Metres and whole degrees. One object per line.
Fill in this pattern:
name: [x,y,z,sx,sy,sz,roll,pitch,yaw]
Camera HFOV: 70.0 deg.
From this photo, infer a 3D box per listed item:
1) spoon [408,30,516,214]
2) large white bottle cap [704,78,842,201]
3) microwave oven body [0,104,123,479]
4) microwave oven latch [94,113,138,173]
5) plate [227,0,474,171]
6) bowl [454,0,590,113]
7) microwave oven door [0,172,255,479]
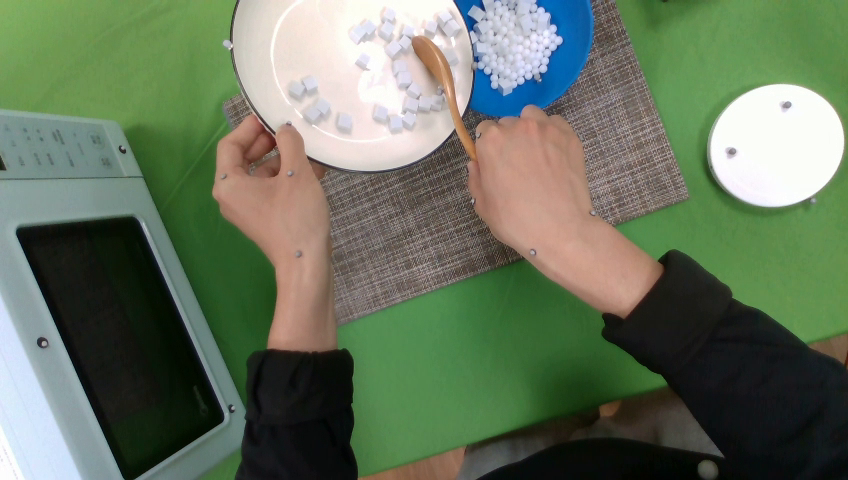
spoon: [0.030,-0.102,0.512,0.021,0.042,0.192,-20,71,-7]
large white bottle cap: [0.328,-0.094,0.571,0.114,0.018,0.115,2,98,15]
microwave oven body: [-0.472,0.114,0.704,0.325,0.260,0.441,-23,91,17]
microwave oven latch: [-0.386,-0.116,0.747,0.030,0.029,0.079,-23,92,17]
plate: [-0.060,-0.159,0.525,0.210,0.038,0.208,2,84,-18]
bowl: [0.087,-0.198,0.591,0.151,0.077,0.151,2,99,17]
microwave oven door: [-0.329,0.097,0.655,0.039,0.244,0.355,-24,90,18]
